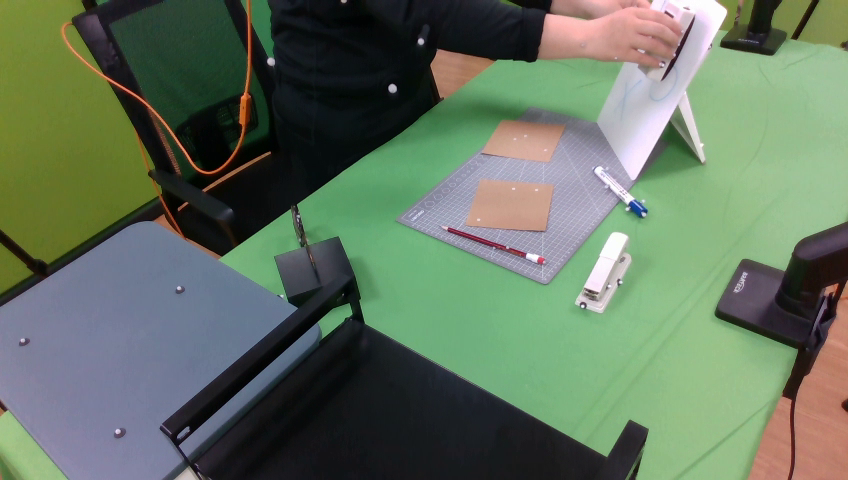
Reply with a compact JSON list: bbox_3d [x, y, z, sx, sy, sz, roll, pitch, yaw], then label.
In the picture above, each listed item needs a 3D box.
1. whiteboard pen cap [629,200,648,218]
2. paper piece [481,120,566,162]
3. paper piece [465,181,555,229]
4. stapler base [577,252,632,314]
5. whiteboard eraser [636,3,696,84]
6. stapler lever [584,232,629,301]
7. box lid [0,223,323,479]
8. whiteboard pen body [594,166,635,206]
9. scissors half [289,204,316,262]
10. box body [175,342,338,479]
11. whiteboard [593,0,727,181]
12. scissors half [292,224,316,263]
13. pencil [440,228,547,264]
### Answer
[{"bbox_3d":[0.348,-0.052,0.983,0.018,0.018,0.033,-18,42,-12],"label":"whiteboard pen cap"},{"bbox_3d":[0.197,-0.199,1.188,0.135,0.004,0.135,11,44,21],"label":"paper piece"},{"bbox_3d":[0.149,-0.062,1.034,0.137,0.009,0.136,4,37,17],"label":"paper piece"},{"bbox_3d":[0.264,0.051,0.874,0.041,0.024,0.131,16,47,29],"label":"stapler base"},{"bbox_3d":[0.375,-0.302,0.932,0.042,0.112,0.055,13,32,-11],"label":"whiteboard eraser"},{"bbox_3d":[0.260,0.034,0.857,0.026,0.040,0.118,16,46,29],"label":"stapler lever"},{"bbox_3d":[-0.318,0.109,0.671,0.368,0.015,0.264,24,49,32],"label":"box lid"},{"bbox_3d":[0.331,-0.085,1.027,0.017,0.017,0.139,-16,41,-10],"label":"whiteboard pen body"},{"bbox_3d":[-0.189,-0.011,0.944,0.013,0.040,0.173,-14,36,-17],"label":"scissors half"},{"bbox_3d":[-0.311,0.165,0.719,0.361,0.161,0.255,23,49,32],"label":"box body"},{"bbox_3d":[0.453,-0.272,1.055,0.144,0.305,0.216,9,38,-12],"label":"whiteboard"},{"bbox_3d":[-0.187,0.007,0.954,0.013,0.040,0.174,-19,21,-14],"label":"scissors half"},{"bbox_3d":[0.105,0.006,0.957,0.192,0.012,0.012,18,46,30],"label":"pencil"}]
